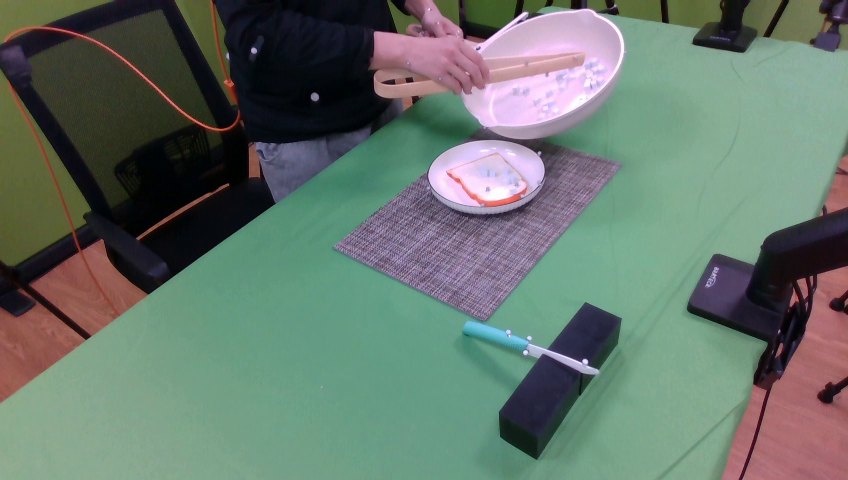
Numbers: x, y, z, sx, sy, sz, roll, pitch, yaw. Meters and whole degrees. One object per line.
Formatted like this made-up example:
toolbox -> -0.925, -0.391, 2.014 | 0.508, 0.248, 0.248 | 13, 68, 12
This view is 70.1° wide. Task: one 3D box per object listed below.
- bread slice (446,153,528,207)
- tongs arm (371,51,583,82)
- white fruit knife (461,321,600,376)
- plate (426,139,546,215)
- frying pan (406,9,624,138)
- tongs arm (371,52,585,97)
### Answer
bread slice -> 0.118, -0.104, 1.057 | 0.107, 0.018, 0.133 | -24, 41, -17
tongs arm -> 0.097, -0.303, 1.061 | 0.389, 0.028, 0.028 | -8, 55, -9
white fruit knife -> 0.125, 0.133, 0.752 | 0.205, 0.027, 0.016 | 12, 44, 42
plate -> 0.109, -0.107, 1.058 | 0.207, 0.039, 0.206 | -4, 41, 4
frying pan -> 0.141, -0.340, 1.145 | 0.484, 0.103, 0.307 | 33, 74, 32
tongs arm -> 0.100, -0.295, 1.054 | 0.386, 0.026, 0.050 | -15, 52, -14
